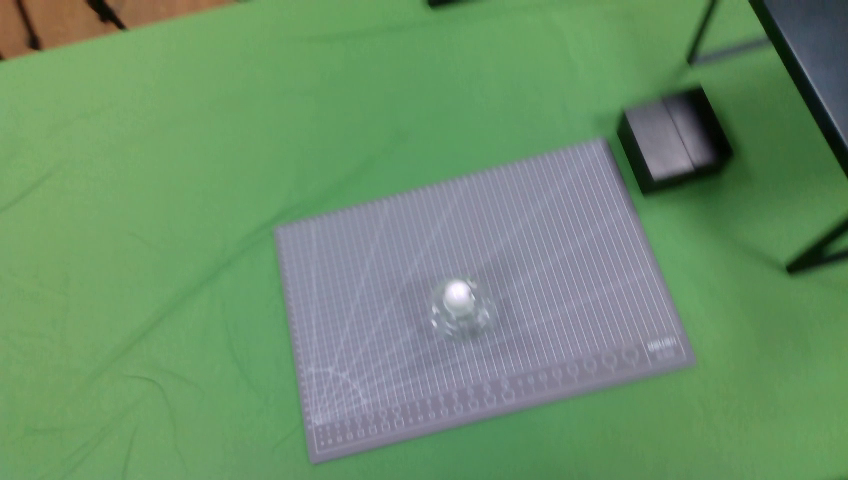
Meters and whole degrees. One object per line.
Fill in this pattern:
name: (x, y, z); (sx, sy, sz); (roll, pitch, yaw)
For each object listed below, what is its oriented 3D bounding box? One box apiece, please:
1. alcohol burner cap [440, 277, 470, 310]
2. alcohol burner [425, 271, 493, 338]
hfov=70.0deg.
alcohol burner cap: (0.034, 0.054, 0.640); (0.034, 0.048, 0.033); (0, 73, 1)
alcohol burner: (0.038, 0.068, 0.673); (0.078, 0.120, 0.077); (-2, 71, 6)
